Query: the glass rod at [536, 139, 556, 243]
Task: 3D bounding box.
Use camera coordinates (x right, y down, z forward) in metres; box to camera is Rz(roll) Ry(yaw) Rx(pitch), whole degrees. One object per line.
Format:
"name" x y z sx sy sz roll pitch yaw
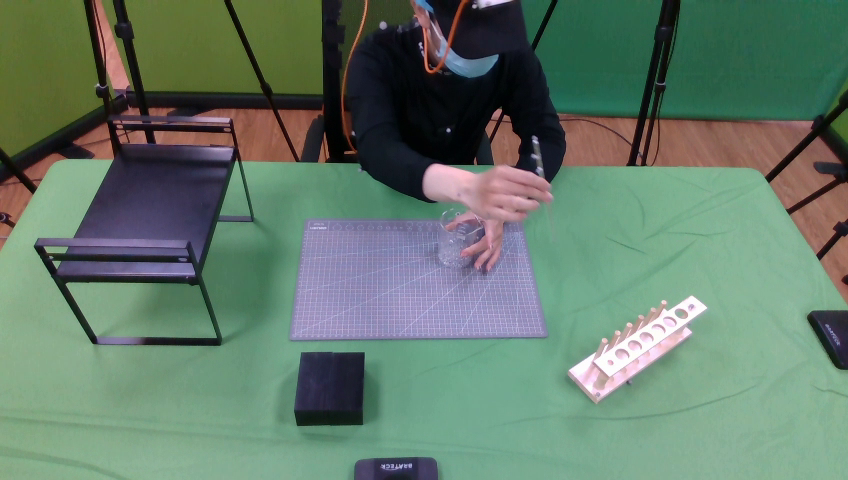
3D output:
"glass rod" 0.189 -0.071 0.937 0.008 0.201 0.008 -11 39 9

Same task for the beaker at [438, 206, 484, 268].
"beaker" 0.066 -0.002 1.143 0.084 0.101 0.073 7 46 3

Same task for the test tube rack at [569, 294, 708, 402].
"test tube rack" 0.360 0.167 1.015 0.242 0.085 0.066 -25 52 -25
